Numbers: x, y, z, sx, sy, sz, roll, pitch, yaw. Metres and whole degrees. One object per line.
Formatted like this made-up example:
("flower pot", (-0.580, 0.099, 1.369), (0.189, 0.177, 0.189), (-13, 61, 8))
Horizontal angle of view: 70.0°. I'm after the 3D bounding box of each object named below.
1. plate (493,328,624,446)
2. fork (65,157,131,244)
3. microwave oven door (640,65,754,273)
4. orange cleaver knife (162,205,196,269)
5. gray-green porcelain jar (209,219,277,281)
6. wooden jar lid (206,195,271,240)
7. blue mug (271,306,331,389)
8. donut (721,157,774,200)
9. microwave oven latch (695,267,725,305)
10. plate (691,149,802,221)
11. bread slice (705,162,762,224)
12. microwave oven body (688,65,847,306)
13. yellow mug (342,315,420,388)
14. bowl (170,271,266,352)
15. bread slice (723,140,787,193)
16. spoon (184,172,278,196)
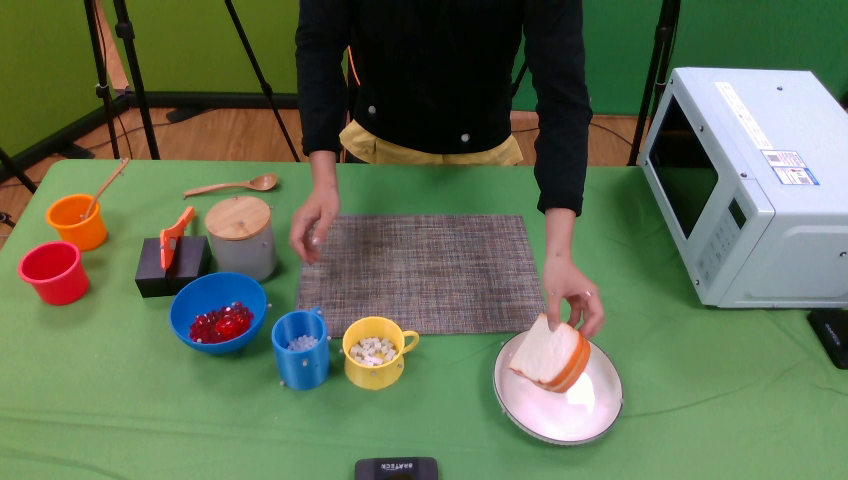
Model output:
("plate", (0.213, 0.236, 0.974), (0.208, 0.039, 0.206), (2, 46, -2))
("fork", (-0.608, -0.074, 1.132), (0.207, 0.019, 0.028), (-52, 48, 10))
("microwave oven door", (0.523, -0.147, 1.193), (0.039, 0.245, 0.353), (0, 47, -3))
("orange cleaver knife", (-0.454, -0.010, 1.129), (0.012, 0.077, 0.210), (-2, 20, -5))
("gray-green porcelain jar", (-0.323, 0.007, 1.092), (0.106, 0.127, 0.105), (2, 46, -2))
("wooden jar lid", (-0.319, -0.036, 1.046), (0.108, 0.021, 0.107), (1, 44, 0))
("blue mug", (-0.188, 0.163, 0.969), (0.082, 0.106, 0.116), (15, 47, 10))
("donut", (0.648, -0.123, 1.215), (0.099, 0.048, 0.098), (-3, 55, 5))
("microwave oven latch", (0.524, 0.082, 1.115), (0.030, 0.029, 0.078), (4, 46, 1))
("plate", (0.652, -0.108, 1.238), (0.209, 0.038, 0.208), (-1, 46, 1))
("bread slice", (0.650, -0.103, 1.264), (0.105, 0.019, 0.131), (13, 71, 10))
("microwave oven body", (0.669, -0.111, 1.176), (0.326, 0.261, 0.439), (0, 46, -3))
("yellow mug", (-0.067, 0.177, 0.990), (0.131, 0.064, 0.099), (-16, 50, -19))
("bowl", (-0.333, 0.132, 1.006), (0.151, 0.077, 0.150), (2, 46, -2))
("bread slice", (0.661, -0.147, 1.201), (0.107, 0.018, 0.133), (0, 53, 9))
("spoon", (-0.405, -0.117, 1.275), (0.194, 0.022, 0.041), (-8, 66, -12))
